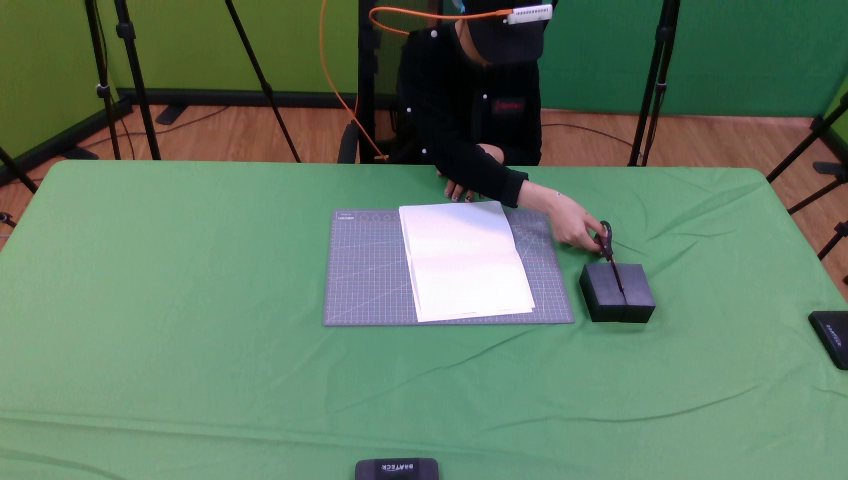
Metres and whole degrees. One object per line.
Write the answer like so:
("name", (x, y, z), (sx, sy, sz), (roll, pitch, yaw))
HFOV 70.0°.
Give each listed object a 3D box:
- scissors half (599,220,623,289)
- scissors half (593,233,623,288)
("scissors half", (0.354, 0.024, 1.142), (0.013, 0.040, 0.174), (4, 47, -4))
("scissors half", (0.351, 0.040, 1.154), (0.013, 0.040, 0.174), (8, 29, -7))
